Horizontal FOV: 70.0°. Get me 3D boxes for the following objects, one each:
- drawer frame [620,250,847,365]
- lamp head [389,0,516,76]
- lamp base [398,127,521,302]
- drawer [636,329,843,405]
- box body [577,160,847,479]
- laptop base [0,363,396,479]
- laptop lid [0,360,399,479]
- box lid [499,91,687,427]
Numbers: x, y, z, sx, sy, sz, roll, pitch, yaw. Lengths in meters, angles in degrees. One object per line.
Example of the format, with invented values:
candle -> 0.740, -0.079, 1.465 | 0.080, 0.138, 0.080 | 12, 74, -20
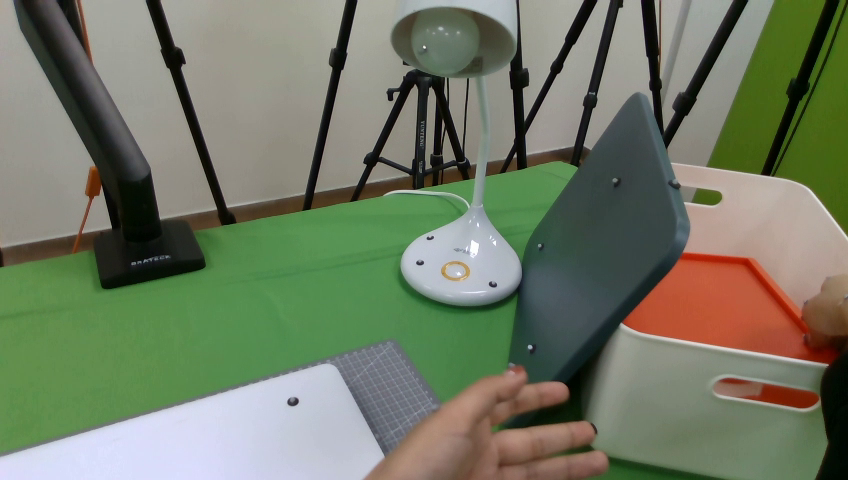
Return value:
drawer frame -> 0.284, 0.086, 0.644 | 0.202, 0.083, 0.212 | 6, 22, 1
lamp head -> 0.031, -0.224, 0.544 | 0.112, 0.113, 0.122 | 6, 72, 3
lamp base -> 0.053, -0.042, 0.763 | 0.160, 0.181, 0.178 | 9, 30, 7
drawer -> 0.283, 0.095, 0.646 | 0.194, 0.073, 0.210 | 3, 21, 3
box body -> 0.298, 0.062, 0.645 | 0.254, 0.161, 0.361 | 9, 32, 7
laptop base -> -0.195, 0.221, 0.457 | 0.355, 0.023, 0.233 | -12, 39, -26
laptop lid -> -0.193, 0.212, 0.449 | 0.358, 0.013, 0.239 | -11, 37, -24
box lid -> 0.166, 0.002, 0.646 | 0.015, 0.264, 0.369 | 28, 33, -4
